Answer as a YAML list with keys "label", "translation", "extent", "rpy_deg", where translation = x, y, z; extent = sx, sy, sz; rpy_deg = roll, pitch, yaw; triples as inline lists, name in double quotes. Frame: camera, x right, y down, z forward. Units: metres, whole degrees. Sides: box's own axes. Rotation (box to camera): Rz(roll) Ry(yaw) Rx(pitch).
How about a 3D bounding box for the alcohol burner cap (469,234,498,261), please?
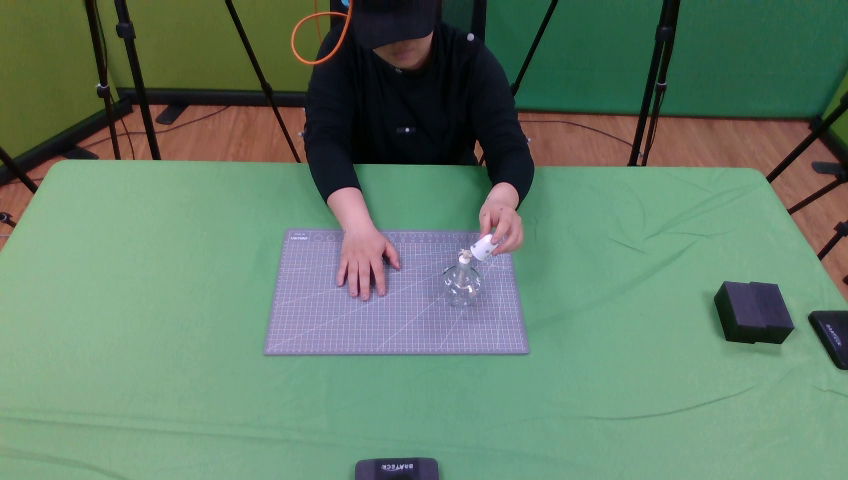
- label: "alcohol burner cap"
  translation: [0.102, 0.010, 1.021]
  extent: [0.034, 0.048, 0.033]
  rpy_deg: [33, 31, -23]

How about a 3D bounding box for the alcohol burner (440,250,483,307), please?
- label: "alcohol burner"
  translation: [0.068, 0.064, 1.076]
  extent: [0.078, 0.120, 0.077]
  rpy_deg: [1, 45, -1]
